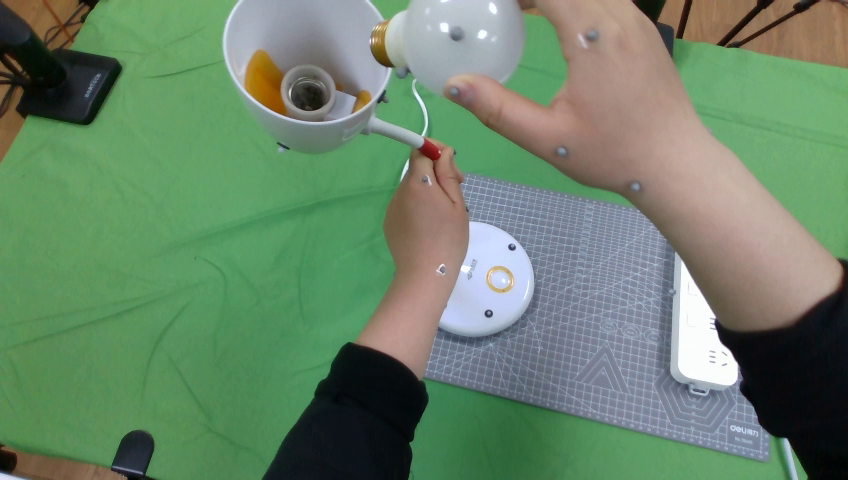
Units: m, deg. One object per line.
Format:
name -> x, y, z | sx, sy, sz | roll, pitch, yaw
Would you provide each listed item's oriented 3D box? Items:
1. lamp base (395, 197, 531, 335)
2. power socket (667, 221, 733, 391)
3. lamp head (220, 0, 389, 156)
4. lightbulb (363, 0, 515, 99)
lamp base -> 0.045, 0.011, 0.713 | 0.179, 0.181, 0.159 | 6, 65, 6
power socket -> 0.349, 0.076, 0.766 | 0.072, 0.033, 0.225 | 11, 65, 4
lamp head -> -0.083, -0.113, 0.455 | 0.112, 0.123, 0.112 | 1, 75, -5
lightbulb -> 0.001, -0.105, 0.319 | 0.059, 0.060, 0.106 | -46, 35, -19
